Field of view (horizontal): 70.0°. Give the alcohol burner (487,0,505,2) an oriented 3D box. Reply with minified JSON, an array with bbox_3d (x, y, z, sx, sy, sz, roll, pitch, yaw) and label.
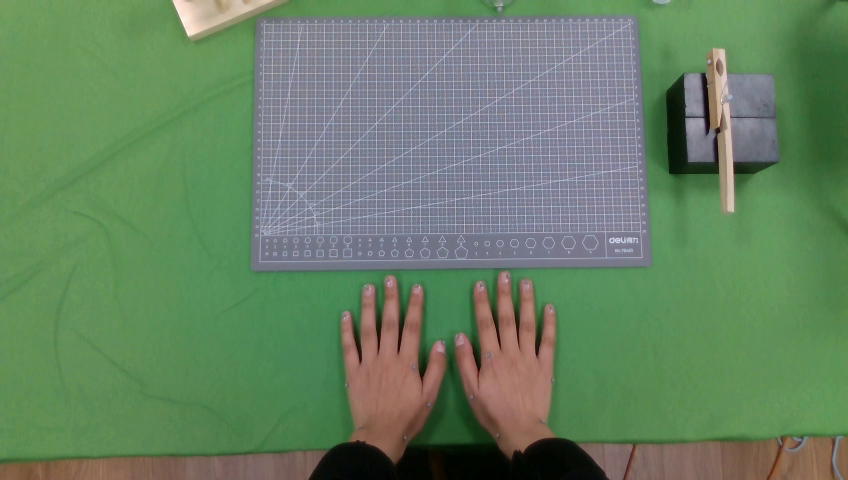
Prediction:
[{"bbox_3d":[0.087,-0.317,0.669,0.078,0.119,0.077,0,83,-2],"label":"alcohol burner"}]

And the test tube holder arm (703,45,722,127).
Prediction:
[{"bbox_3d":[0.312,-0.166,0.653,0.010,0.015,0.087,-3,85,-3],"label":"test tube holder arm"}]

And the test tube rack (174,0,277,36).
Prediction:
[{"bbox_3d":[-0.176,-0.324,0.680,0.242,0.085,0.066,-25,83,-4],"label":"test tube rack"}]

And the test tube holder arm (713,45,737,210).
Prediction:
[{"bbox_3d":[0.321,-0.121,0.649,0.013,0.015,0.178,-5,85,-3],"label":"test tube holder arm"}]
